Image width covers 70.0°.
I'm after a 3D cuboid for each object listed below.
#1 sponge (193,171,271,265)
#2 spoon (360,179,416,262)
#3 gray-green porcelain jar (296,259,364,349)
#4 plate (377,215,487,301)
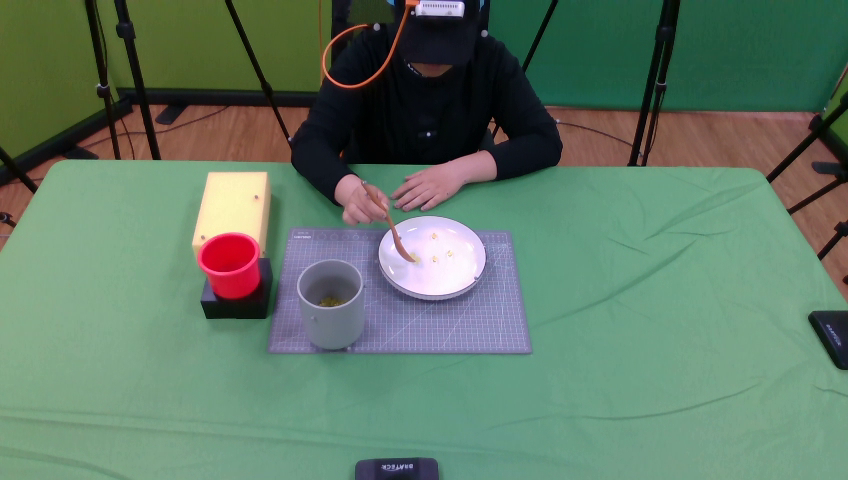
[{"bbox_3d":[-0.371,-0.047,1.189,0.118,0.061,0.205,-3,47,-6],"label":"sponge"},{"bbox_3d":[-0.064,-0.033,1.086,0.021,0.195,0.041,-34,28,-13],"label":"spoon"},{"bbox_3d":[-0.152,0.111,1.003,0.106,0.127,0.105,2,46,-2],"label":"gray-green porcelain jar"},{"bbox_3d":[0.015,0.037,1.148,0.208,0.039,0.206,2,46,-2],"label":"plate"}]
